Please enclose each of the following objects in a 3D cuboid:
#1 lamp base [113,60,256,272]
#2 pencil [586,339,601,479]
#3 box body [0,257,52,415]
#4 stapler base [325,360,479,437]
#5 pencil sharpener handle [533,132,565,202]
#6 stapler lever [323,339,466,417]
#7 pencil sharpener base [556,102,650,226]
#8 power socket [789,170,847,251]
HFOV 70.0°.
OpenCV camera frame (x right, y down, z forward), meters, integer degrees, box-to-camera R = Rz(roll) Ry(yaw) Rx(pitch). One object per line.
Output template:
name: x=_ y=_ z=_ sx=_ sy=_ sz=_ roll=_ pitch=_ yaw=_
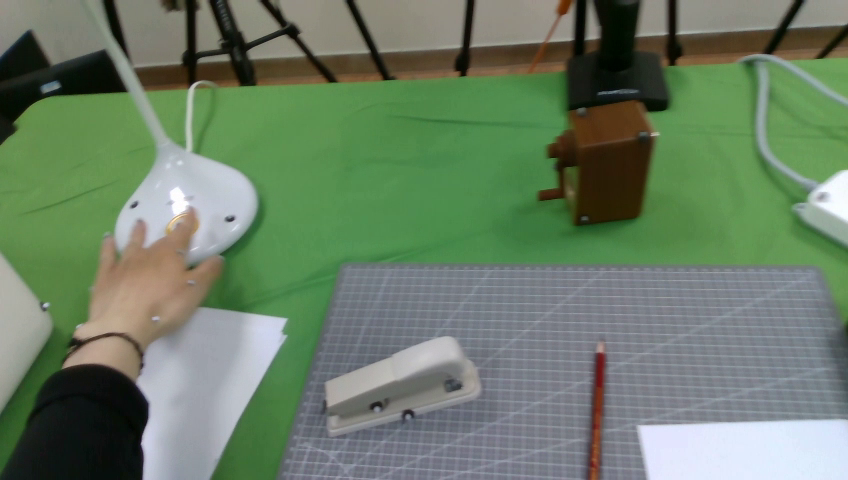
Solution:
lamp base: x=-0.287 y=-0.086 z=0.643 sx=0.161 sy=0.182 sz=0.177 roll=-23 pitch=44 yaw=-12
pencil: x=0.128 y=0.153 z=0.457 sx=0.012 sy=0.012 sz=0.192 roll=4 pitch=46 yaw=14
box body: x=-0.512 y=0.152 z=0.466 sx=0.254 sy=0.162 sz=0.361 roll=0 pitch=47 yaw=10
stapler base: x=-0.020 y=0.125 z=0.500 sx=0.130 sy=0.025 sz=0.041 roll=-15 pitch=45 yaw=-2
pencil sharpener handle: x=0.120 y=-0.070 z=0.589 sx=0.030 sy=0.068 sz=0.035 roll=-9 pitch=24 yaw=3
stapler lever: x=-0.025 y=0.109 z=0.482 sx=0.118 sy=0.040 sz=0.026 roll=-14 pitch=45 yaw=-3
pencil sharpener base: x=0.172 y=-0.072 z=0.601 sx=0.076 sy=0.108 sz=0.060 roll=-9 pitch=46 yaw=3
power socket: x=0.442 y=0.009 z=0.527 sx=0.072 sy=0.033 sz=0.224 roll=-30 pitch=48 yaw=-19
